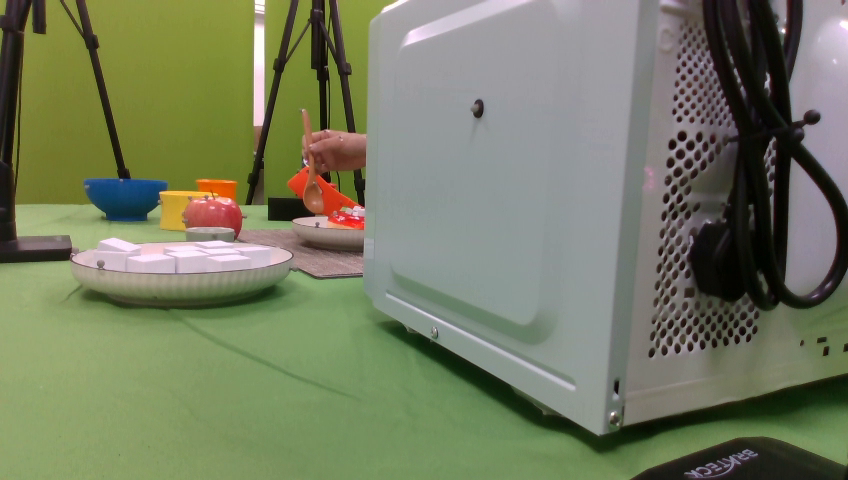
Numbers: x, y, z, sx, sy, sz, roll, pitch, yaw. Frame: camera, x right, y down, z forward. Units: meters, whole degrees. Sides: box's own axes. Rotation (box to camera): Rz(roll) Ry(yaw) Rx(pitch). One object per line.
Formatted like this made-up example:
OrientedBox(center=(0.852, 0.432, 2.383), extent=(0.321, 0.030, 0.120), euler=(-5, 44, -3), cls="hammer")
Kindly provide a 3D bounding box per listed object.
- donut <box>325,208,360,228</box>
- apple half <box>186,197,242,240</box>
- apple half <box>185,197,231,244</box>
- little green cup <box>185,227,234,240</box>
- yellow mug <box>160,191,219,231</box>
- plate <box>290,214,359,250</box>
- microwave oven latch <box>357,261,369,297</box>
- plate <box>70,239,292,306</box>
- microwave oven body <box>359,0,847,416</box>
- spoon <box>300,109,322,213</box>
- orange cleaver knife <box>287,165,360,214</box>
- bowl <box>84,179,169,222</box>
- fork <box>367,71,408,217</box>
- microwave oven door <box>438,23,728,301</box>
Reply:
OrientedBox(center=(-0.110, -0.025, 0.974), extent=(0.099, 0.048, 0.099), euler=(4, 8, 0), cls="donut")
OrientedBox(center=(-0.306, -0.026, 0.905), extent=(0.053, 0.074, 0.081), euler=(14, 9, 37), cls="apple half")
OrientedBox(center=(-0.337, -0.031, 0.927), extent=(0.032, 0.081, 0.082), euler=(13, 13, 37), cls="apple half")
OrientedBox(center=(-0.285, 0.005, 0.805), extent=(0.061, 0.038, 0.061), euler=(2, 8, 0), cls="little green cup")
OrientedBox(center=(-0.416, -0.053, 1.103), extent=(0.130, 0.064, 0.100), euler=(7, 8, 27), cls="yellow mug")
OrientedBox(center=(-0.110, -0.014, 0.974), extent=(0.209, 0.038, 0.209), euler=(3, 8, 0), cls="plate")
OrientedBox(center=(-0.019, 0.033, 0.531), extent=(0.079, 0.029, 0.030), euler=(-1, 7, -27), cls="microwave oven latch")
OrientedBox(center=(-0.242, 0.031, 0.618), extent=(0.208, 0.039, 0.207), euler=(3, 8, 0), cls="plate")
OrientedBox(center=(0.211, -0.047, 0.474), extent=(0.444, 0.260, 0.324), euler=(-1, 7, -28), cls="microwave oven body")
OrientedBox(center=(-0.208, -0.145, 1.100), extent=(0.042, 0.193, 0.021), euler=(-2, -3, -42), cls="spoon")
OrientedBox(center=(-0.211, -0.092, 1.382), extent=(0.212, 0.077, 0.012), euler=(33, 2, -15), cls="orange cleaver knife")
OrientedBox(center=(-0.584, -0.078, 1.194), extent=(0.151, 0.077, 0.151), euler=(3, 8, 0), cls="bowl")
OrientedBox(center=(-0.050, -0.124, 0.819), extent=(0.028, 0.207, 0.019), euler=(7, 28, 35), cls="fork")
OrientedBox(center=(0.181, -0.073, 0.621), extent=(0.358, 0.243, 0.039), euler=(-2, 8, -29), cls="microwave oven door")
